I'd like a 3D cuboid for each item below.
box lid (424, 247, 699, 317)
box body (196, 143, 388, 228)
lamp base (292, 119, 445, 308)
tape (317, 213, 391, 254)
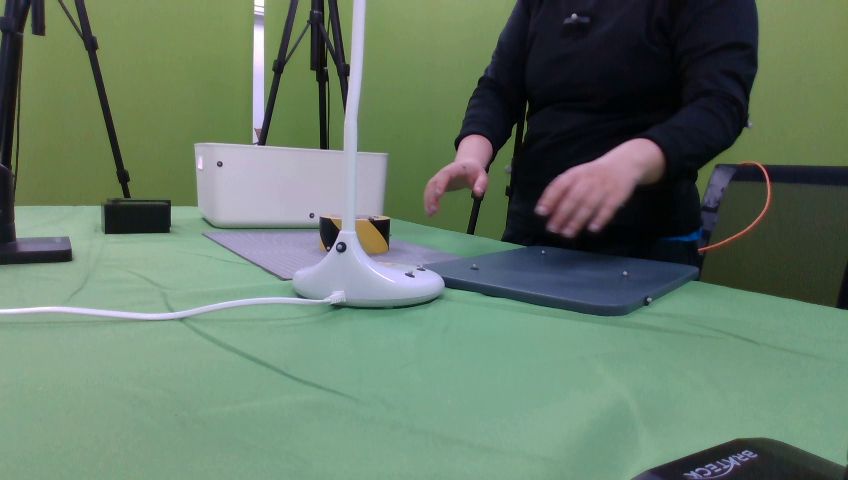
[{"bbox_3d":[0.184,0.044,0.789,0.262,0.015,0.373,8,9,35],"label":"box lid"},{"bbox_3d":[-0.286,-0.117,1.291,0.366,0.160,0.253,-1,8,-27],"label":"box body"},{"bbox_3d":[-0.056,-0.030,0.616,0.160,0.180,0.179,4,10,8],"label":"lamp base"},{"bbox_3d":[-0.109,-0.012,0.938,0.117,0.052,0.117,2,7,0],"label":"tape"}]
